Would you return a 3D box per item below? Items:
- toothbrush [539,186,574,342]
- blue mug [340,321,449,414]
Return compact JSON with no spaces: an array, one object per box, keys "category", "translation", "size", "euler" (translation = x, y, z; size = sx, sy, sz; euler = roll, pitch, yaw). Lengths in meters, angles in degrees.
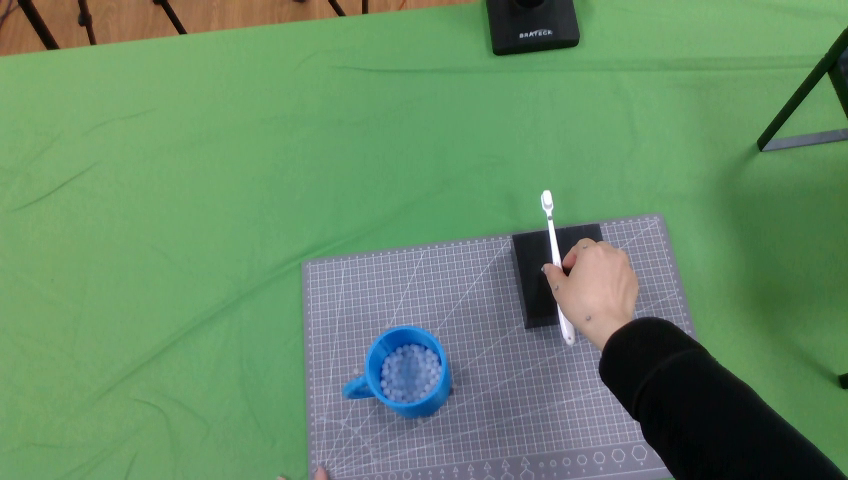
[{"category":"toothbrush","translation":[0.148,0.022,0.673],"size":[0.014,0.017,0.180],"euler":[2,69,-17]},{"category":"blue mug","translation":[-0.032,0.143,0.646],"size":[0.116,0.106,0.081],"euler":[-16,69,-1]}]
